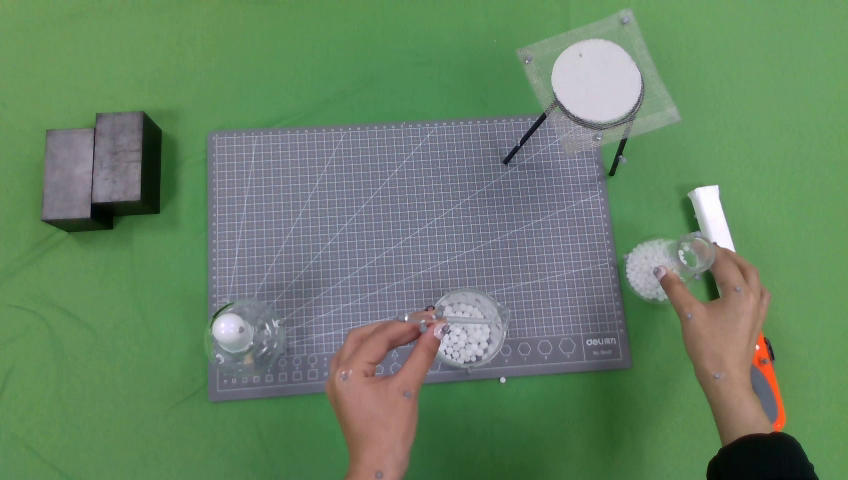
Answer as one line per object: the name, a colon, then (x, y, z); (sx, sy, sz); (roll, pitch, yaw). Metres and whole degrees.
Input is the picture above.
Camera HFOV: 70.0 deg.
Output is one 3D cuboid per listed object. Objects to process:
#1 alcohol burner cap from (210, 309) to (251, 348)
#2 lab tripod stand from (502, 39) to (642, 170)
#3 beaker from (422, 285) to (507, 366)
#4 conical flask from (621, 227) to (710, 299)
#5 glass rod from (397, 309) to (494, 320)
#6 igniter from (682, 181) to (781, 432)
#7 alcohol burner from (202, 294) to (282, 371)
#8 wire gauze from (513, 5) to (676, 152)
alcohol burner cap: (-0.179, 0.079, 0.557); (0.034, 0.048, 0.033); (3, 69, -7)
lab tripod stand: (0.160, -0.136, 0.646); (0.148, 0.132, 0.147); (1, 79, -3)
beaker: (0.038, 0.087, 0.610); (0.084, 0.100, 0.073); (-22, 80, -7)
conical flask: (0.253, 0.018, 0.622); (0.075, 0.122, 0.075); (-1, 80, 4)
glass rod: (0.026, 0.065, 0.515); (0.008, 0.201, 0.008); (-3, 81, 25)
igniter: (0.338, 0.068, 0.666); (0.057, 0.025, 0.275); (-9, 79, -15)
alcohol burner: (-0.181, 0.089, 0.592); (0.078, 0.119, 0.077); (1, 76, -4)
wire gauze: (0.164, -0.155, 0.581); (0.125, 0.011, 0.121); (-20, 81, -7)
